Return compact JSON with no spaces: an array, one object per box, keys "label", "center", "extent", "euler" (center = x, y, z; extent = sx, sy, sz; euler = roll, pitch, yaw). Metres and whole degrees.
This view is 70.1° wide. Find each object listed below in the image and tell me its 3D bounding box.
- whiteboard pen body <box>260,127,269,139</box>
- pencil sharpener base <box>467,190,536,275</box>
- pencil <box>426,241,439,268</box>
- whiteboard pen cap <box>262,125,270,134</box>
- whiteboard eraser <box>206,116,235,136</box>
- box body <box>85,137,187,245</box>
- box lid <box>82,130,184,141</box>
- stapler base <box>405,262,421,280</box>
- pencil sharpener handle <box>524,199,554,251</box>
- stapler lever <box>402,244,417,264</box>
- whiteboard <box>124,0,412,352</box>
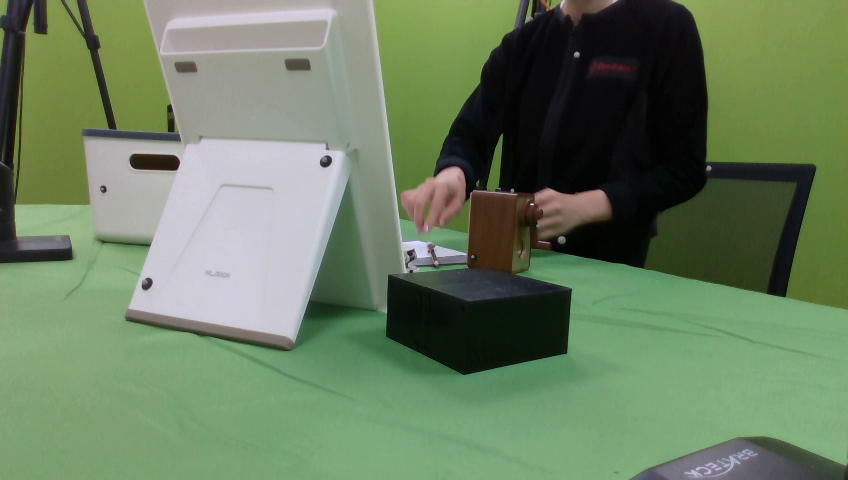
[{"label":"whiteboard pen body","center":[-0.366,-0.247,1.392],"extent":[0.017,0.017,0.140],"euler":[0,3,-17]},{"label":"pencil sharpener base","center":[0.106,-0.011,0.808],"extent":[0.076,0.107,0.061],"euler":[8,8,33]},{"label":"pencil","center":[0.013,0.021,0.885],"extent":[0.012,0.012,0.194],"euler":[2,9,-3]},{"label":"whiteboard pen cap","center":[-0.349,-0.244,1.336],"extent":[0.018,0.018,0.033],"euler":[0,2,-17]},{"label":"whiteboard eraser","center":[-0.450,-0.252,1.335],"extent":[0.056,0.042,0.112],"euler":[1,7,-22]},{"label":"box body","center":[-0.340,-0.088,1.022],"extent":[0.254,0.160,0.364],"euler":[4,7,11]},{"label":"box lid","center":[-0.337,-0.161,1.011],"extent":[0.263,0.015,0.372],"euler":[4,6,11]},{"label":"stapler base","center":[-0.069,0.027,0.759],"extent":[0.130,0.024,0.041],"euler":[9,13,23]},{"label":"pencil sharpener handle","center":[0.151,-0.019,0.782],"extent":[0.030,0.068,0.036],"euler":[8,23,33]},{"label":"stapler lever","center":[-0.066,0.003,0.755],"extent":[0.117,0.040,0.027],"euler":[9,13,23]},{"label":"whiteboard","center":[-0.151,-0.049,0.472],"extent":[0.216,0.305,0.144],"euler":[6,27,24]}]
